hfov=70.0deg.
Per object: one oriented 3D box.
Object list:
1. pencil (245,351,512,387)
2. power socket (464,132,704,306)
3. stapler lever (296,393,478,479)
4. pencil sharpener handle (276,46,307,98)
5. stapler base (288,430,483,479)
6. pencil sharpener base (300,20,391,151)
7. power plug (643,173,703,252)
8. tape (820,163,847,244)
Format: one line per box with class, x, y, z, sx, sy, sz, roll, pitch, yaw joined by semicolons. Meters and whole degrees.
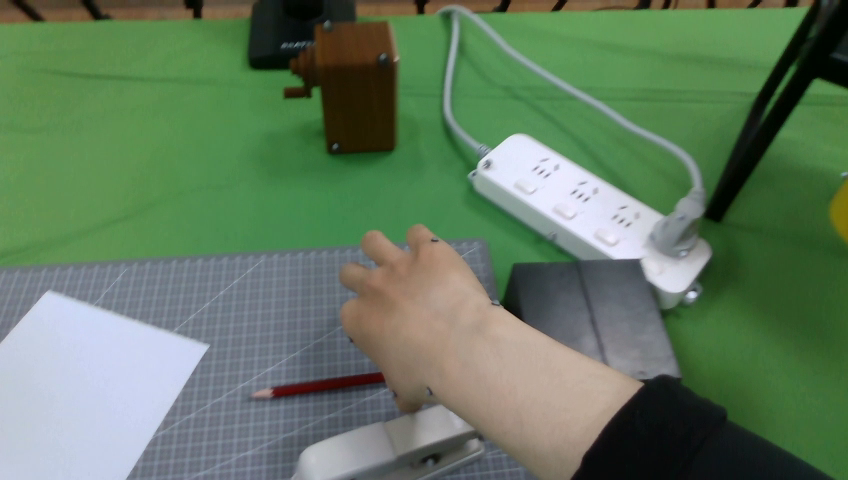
pencil;-0.032;0.095;0.443;0.194;0.012;0.012;-5;53;-6
power socket;0.138;-0.024;0.537;0.225;0.033;0.072;35;57;22
stapler lever;-0.022;0.124;0.380;0.118;0.040;0.026;-17;56;-18
pencil sharpener handle;-0.122;-0.148;0.549;0.031;0.068;0.036;-6;75;-8
stapler base;-0.024;0.141;0.399;0.131;0.024;0.041;-17;57;-18
pencil sharpener base;-0.072;-0.141;0.564;0.077;0.108;0.060;-6;53;-8
power plug;0.215;-0.016;0.506;0.072;0.053;0.035;-32;60;-24
tape;0.436;-0.034;0.555;0.117;0.053;0.115;2;54;-2
